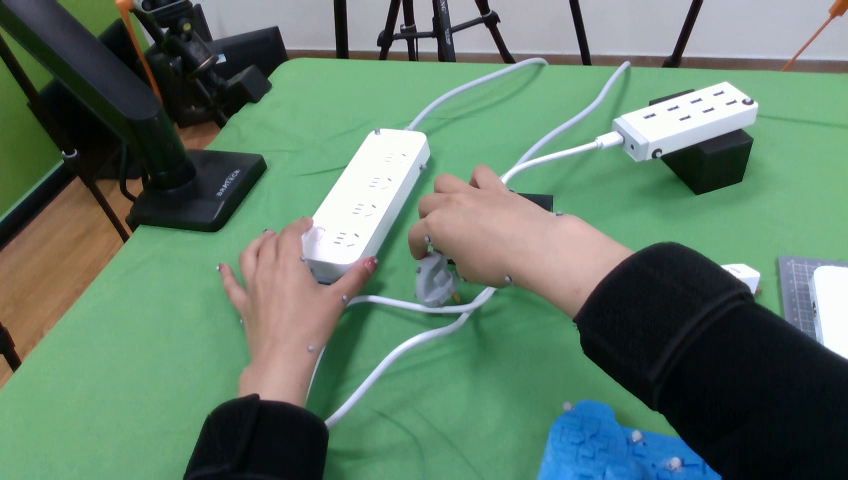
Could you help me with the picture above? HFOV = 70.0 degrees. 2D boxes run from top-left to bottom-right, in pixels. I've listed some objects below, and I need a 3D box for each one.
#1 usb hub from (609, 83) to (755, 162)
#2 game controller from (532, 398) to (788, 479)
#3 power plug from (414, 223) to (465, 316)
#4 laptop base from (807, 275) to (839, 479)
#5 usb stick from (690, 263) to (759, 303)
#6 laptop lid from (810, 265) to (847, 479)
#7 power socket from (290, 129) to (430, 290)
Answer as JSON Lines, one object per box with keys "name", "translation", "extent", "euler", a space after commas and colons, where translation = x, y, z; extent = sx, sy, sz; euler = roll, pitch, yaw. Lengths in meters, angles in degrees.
{"name": "usb hub", "translation": [0.243, -0.111, 0.574], "extent": [0.125, 0.025, 0.049], "euler": [-19, 46, -8]}
{"name": "game controller", "translation": [0.146, 0.152, 0.377], "extent": [0.154, 0.052, 0.096], "euler": [8, 42, 17]}
{"name": "power plug", "translation": [0.023, 0.029, 0.513], "extent": [0.072, 0.053, 0.035], "euler": [-39, 34, -7]}
{"name": "laptop base", "translation": [0.441, 0.129, 0.369], "extent": [0.353, 0.023, 0.234], "euler": [7, 50, 17]}
{"name": "usb stick", "translation": [0.246, 0.034, 0.488], "extent": [0.059, 0.027, 0.021], "euler": [0, 21, -21]}
{"name": "laptop lid", "translation": [0.439, 0.122, 0.359], "extent": [0.355, 0.013, 0.240], "euler": [8, 49, 18]}
{"name": "power socket", "translation": [-0.059, -0.042, 0.622], "extent": [0.072, 0.033, 0.225], "euler": [10, 47, 19]}
